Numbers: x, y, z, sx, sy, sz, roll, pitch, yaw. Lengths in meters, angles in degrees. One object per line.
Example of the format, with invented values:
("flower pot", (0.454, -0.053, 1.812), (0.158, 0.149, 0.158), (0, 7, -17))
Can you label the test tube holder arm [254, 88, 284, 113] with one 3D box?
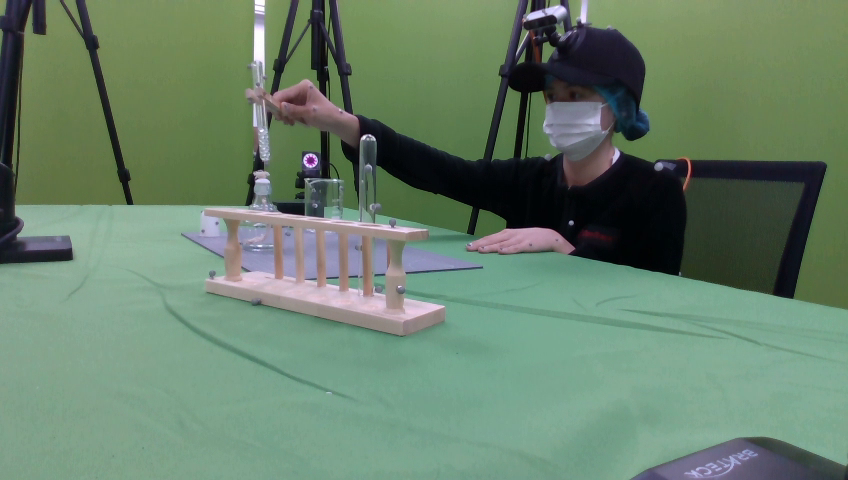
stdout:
("test tube holder arm", (-0.231, -0.208, 0.909), (0.010, 0.015, 0.088), (-7, -5, 9))

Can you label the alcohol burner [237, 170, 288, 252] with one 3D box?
("alcohol burner", (-0.236, -0.042, 0.882), (0.078, 0.119, 0.078), (2, 9, 0))

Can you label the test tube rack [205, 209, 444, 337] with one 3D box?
("test tube rack", (-0.100, 0.021, 0.565), (0.241, 0.085, 0.067), (7, 9, 32))

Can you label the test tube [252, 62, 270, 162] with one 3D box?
("test tube", (-0.239, -0.188, 0.885), (0.017, 0.150, 0.017), (-6, -7, 0))

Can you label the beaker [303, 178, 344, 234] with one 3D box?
("beaker", (-0.189, -0.063, 1.119), (0.073, 0.100, 0.084), (6, 9, 28))

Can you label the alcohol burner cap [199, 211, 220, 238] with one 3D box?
("alcohol burner cap", (-0.356, -0.027, 1.002), (0.034, 0.048, 0.034), (2, 7, 0))

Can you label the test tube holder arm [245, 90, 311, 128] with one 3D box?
("test tube holder arm", (-0.226, -0.204, 0.954), (0.013, 0.015, 0.179), (-7, -5, 16))

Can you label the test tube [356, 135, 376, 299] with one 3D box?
("test tube", (-0.053, -0.019, 0.550), (0.017, 0.150, 0.017), (2, 9, 0))
